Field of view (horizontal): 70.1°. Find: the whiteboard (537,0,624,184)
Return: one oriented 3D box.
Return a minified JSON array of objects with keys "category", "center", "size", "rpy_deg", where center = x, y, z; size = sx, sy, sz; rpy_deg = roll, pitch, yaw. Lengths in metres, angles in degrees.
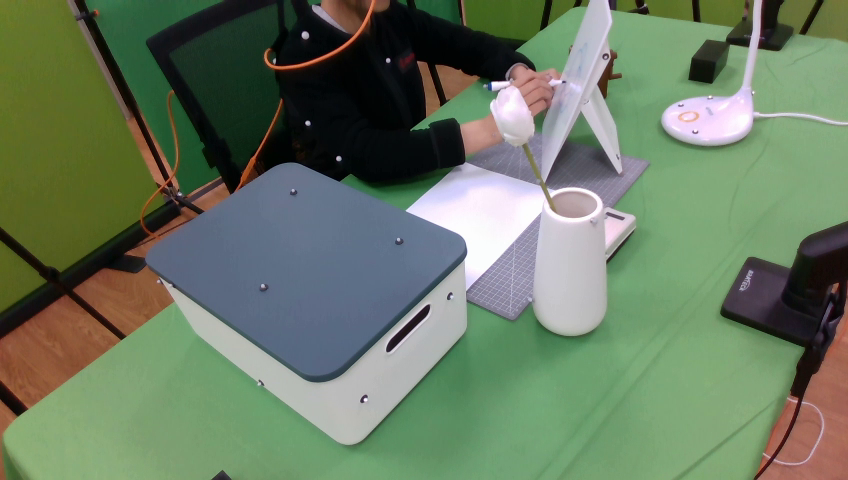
[{"category":"whiteboard","center":[0.316,-0.256,1.047],"size":[0.144,0.306,0.216],"rpy_deg":[15,42,-1]}]

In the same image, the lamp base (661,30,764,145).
[{"category":"lamp base","center":[0.535,-0.287,1.096],"size":[0.179,0.181,0.159],"rpy_deg":[-10,40,-4]}]

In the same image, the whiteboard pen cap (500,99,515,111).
[{"category":"whiteboard pen cap","center":[0.177,-0.287,1.289],"size":[0.033,0.018,0.018],"rpy_deg":[-36,47,-26]}]

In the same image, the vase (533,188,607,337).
[{"category":"vase","center":[0.187,0.033,0.771],"size":[0.098,0.201,0.097],"rpy_deg":[-6,41,6]}]

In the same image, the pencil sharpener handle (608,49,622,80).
[{"category":"pencil sharpener handle","center":[0.394,-0.368,1.253],"size":[0.030,0.068,0.036],"rpy_deg":[-9,32,1]}]

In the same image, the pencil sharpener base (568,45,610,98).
[{"category":"pencil sharpener base","center":[0.345,-0.352,1.263],"size":[0.077,0.107,0.061],"rpy_deg":[-9,40,1]}]

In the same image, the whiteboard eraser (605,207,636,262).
[{"category":"whiteboard eraser","center":[0.273,-0.003,0.919],"size":[0.055,0.042,0.113],"rpy_deg":[27,51,33]}]

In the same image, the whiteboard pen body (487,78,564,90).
[{"category":"whiteboard pen body","center":[0.184,-0.282,1.087],"size":[0.141,0.017,0.017],"rpy_deg":[-3,40,0]}]

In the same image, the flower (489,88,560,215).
[{"category":"flower","center":[0.159,-0.027,0.720],"size":[0.038,0.364,0.044],"rpy_deg":[-14,44,23]}]

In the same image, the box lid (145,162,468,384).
[{"category":"box lid","center":[-0.157,0.014,0.769],"size":[0.368,0.015,0.264],"rpy_deg":[25,51,33]}]

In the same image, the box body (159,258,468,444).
[{"category":"box body","center":[-0.147,0.072,0.816],"size":[0.361,0.161,0.255],"rpy_deg":[24,50,33]}]
